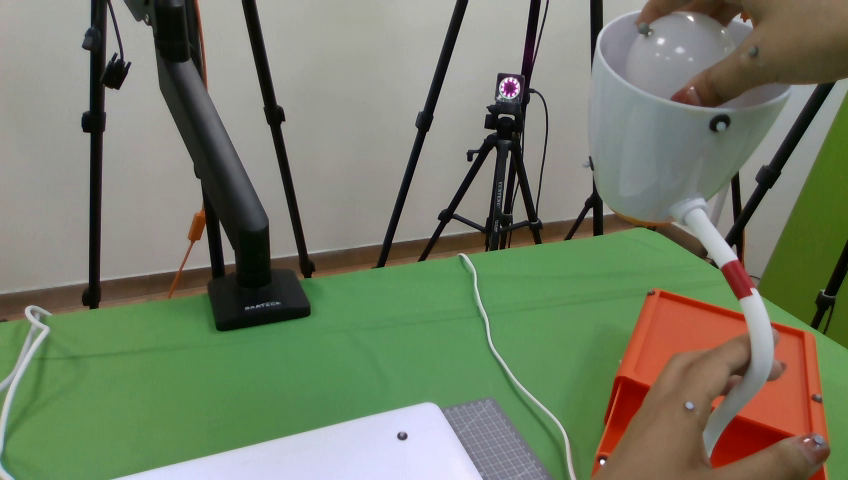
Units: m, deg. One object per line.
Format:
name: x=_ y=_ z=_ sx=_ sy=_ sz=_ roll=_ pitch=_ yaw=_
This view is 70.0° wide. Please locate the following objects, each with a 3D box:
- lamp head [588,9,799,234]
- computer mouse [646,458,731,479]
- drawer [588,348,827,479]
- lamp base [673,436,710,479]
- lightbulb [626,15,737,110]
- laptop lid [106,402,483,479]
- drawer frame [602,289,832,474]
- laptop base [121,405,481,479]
lamp head: x=0.157 y=-0.064 z=0.385 sx=0.112 sy=0.124 sz=0.111 roll=-1 pitch=42 yaw=1
computer mouse: x=0.258 y=0.239 z=0.552 sx=0.117 sy=0.041 sz=0.062 roll=16 pitch=28 yaw=14
drawer: x=0.279 y=0.202 z=0.599 sx=0.193 sy=0.074 sz=0.211 roll=15 pitch=28 yaw=21
lamp base: x=0.173 y=0.234 z=0.397 sx=0.161 sy=0.181 sz=0.177 roll=2 pitch=25 yaw=-8
lightbulb: x=0.150 y=-0.082 z=0.368 sx=0.059 sy=0.109 sz=0.059 roll=-3 pitch=48 yaw=4
laptop lid: x=-0.104 y=0.245 z=0.485 sx=0.358 sy=0.013 sz=0.239 roll=-7 pitch=31 yaw=-22
drawer frame: x=0.329 y=0.158 z=0.688 sx=0.200 sy=0.083 sz=0.213 roll=16 pitch=28 yaw=22
laptop base: x=-0.105 y=0.255 z=0.492 sx=0.356 sy=0.023 sz=0.233 roll=-7 pitch=32 yaw=-23
